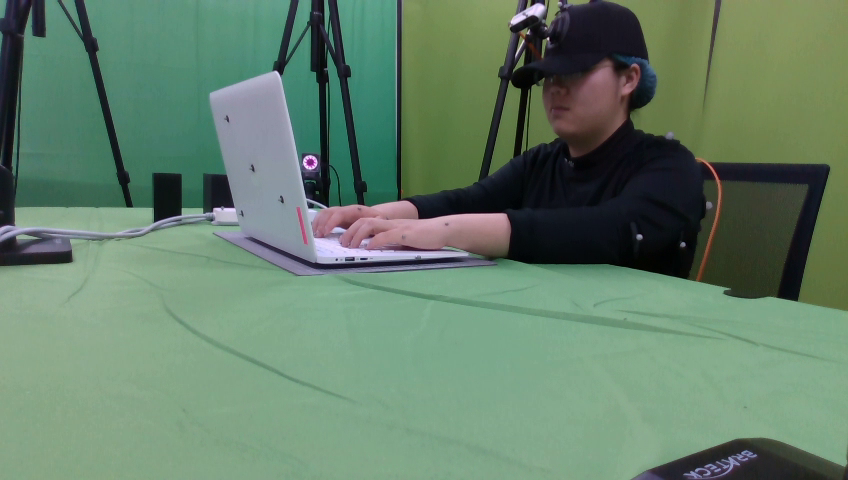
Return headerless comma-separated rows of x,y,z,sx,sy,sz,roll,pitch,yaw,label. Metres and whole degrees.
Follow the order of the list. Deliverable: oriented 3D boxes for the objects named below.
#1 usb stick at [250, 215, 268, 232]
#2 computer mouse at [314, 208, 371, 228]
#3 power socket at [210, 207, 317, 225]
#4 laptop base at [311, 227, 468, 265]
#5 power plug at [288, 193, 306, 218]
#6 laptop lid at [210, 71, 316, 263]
-0.291,-0.028,1.069,0.021,0.027,0.059,-1,11,-30,usb stick
-0.173,-0.046,1.284,0.118,0.041,0.062,-7,13,-29,computer mouse
-0.335,-0.051,1.281,0.228,0.032,0.072,-1,8,-28,power socket
-0.123,0.007,0.951,0.237,0.023,0.352,2,6,-32,laptop base
-0.281,-0.076,1.340,0.035,0.052,0.072,4,5,-18,power plug
-0.241,-0.104,0.861,0.013,0.241,0.355,-16,17,-29,laptop lid
